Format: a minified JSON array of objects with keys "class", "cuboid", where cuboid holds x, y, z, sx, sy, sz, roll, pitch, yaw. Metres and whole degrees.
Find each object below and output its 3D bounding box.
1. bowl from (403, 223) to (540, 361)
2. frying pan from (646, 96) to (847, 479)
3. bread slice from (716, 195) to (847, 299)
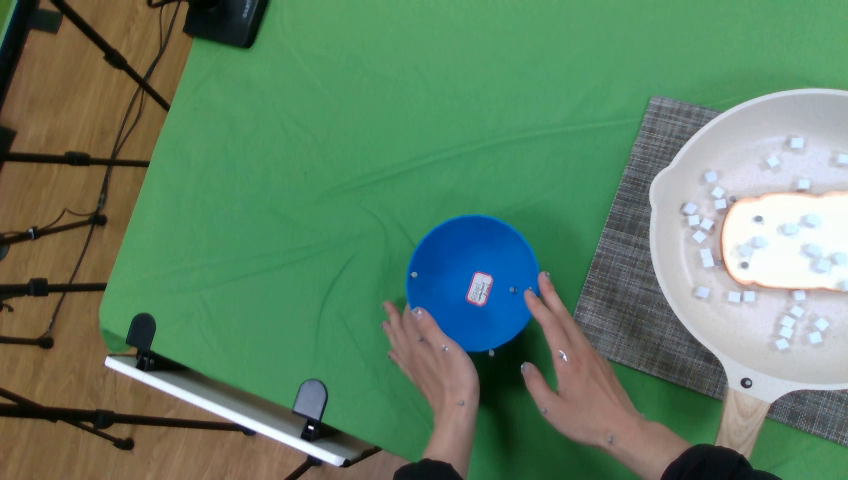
[{"class":"bowl","cuboid":[0.059,0.061,0.687,0.151,0.077,0.151,-2,81,15]},{"class":"frying pan","cuboid":[0.332,0.099,0.589,0.305,0.103,0.486,21,79,18]},{"class":"bread slice","cuboid":[0.378,0.011,0.631,0.134,0.018,0.106,-3,81,13]}]
